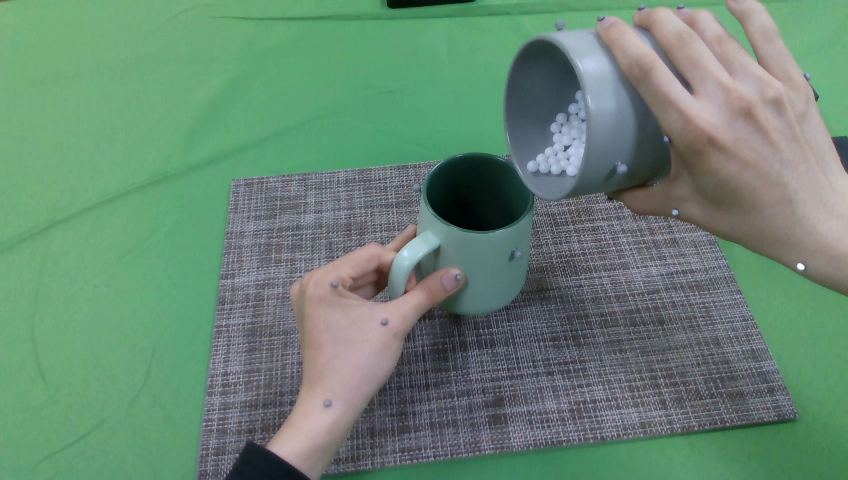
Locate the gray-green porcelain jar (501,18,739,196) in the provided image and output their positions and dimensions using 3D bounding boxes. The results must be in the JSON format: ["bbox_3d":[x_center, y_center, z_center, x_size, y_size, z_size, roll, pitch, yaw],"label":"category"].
[{"bbox_3d":[0.132,-0.091,0.406,0.127,0.106,0.104,-11,54,-19],"label":"gray-green porcelain jar"}]

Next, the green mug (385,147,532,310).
[{"bbox_3d":[0.023,0.003,0.455,0.125,0.106,0.091,-35,61,-24],"label":"green mug"}]
